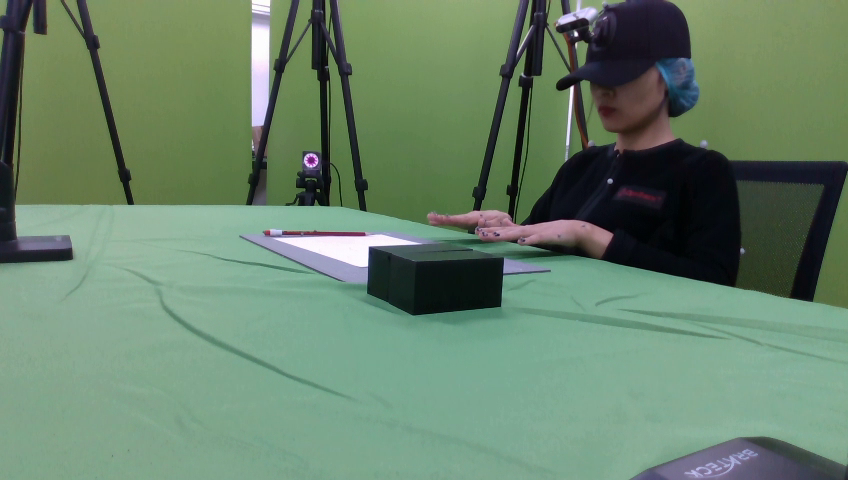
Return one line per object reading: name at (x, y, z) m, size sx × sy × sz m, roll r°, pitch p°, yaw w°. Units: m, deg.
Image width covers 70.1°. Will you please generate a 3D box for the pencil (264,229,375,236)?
pencil at (-0.180, -0.011, 1.058) m, size 0.195 × 0.012 × 0.012 m, roll 1°, pitch 7°, yaw -21°
